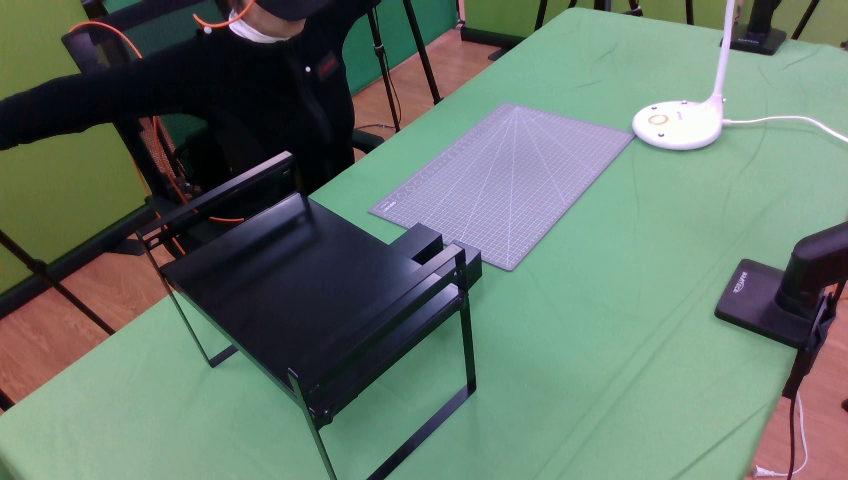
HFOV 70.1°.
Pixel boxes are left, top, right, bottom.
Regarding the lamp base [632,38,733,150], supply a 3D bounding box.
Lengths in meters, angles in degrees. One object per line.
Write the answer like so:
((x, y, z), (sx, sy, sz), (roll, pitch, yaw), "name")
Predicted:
((0.486, -0.280, 1.108), (0.179, 0.181, 0.159), (-5, 41, -1), "lamp base")
